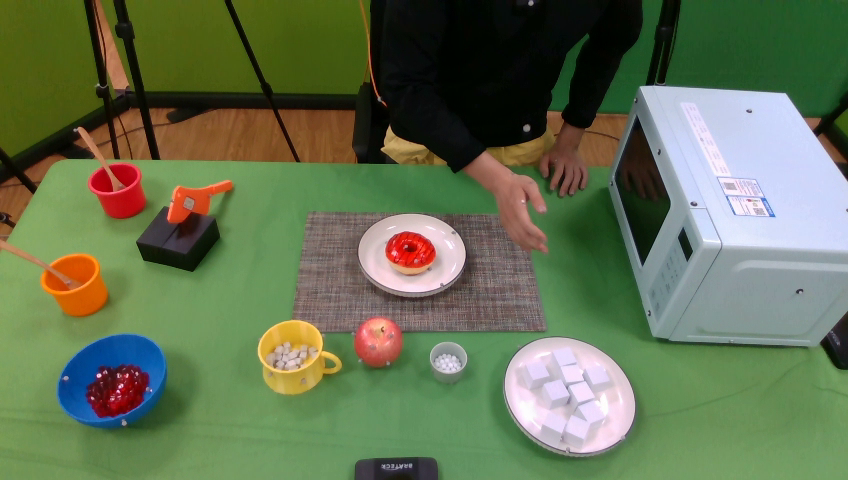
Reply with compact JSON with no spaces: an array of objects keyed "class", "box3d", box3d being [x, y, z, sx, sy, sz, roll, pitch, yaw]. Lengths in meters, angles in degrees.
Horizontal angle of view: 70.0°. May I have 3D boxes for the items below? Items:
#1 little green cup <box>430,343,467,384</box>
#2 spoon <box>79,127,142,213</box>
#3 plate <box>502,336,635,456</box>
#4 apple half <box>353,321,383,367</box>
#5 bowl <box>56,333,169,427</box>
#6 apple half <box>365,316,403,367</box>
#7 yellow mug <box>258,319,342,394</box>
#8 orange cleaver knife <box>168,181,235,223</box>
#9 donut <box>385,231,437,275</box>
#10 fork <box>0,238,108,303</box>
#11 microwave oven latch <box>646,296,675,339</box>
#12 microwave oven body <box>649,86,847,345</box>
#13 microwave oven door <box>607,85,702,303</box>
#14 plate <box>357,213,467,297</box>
[{"class":"little green cup","box3d":[0.039,0.203,0.993,0.061,0.039,0.061,2,46,-2]},{"class":"spoon","box3d":[-0.624,-0.139,1.203,0.041,0.021,0.194,-33,101,-25]},{"class":"plate","box3d":[0.225,0.248,0.963,0.208,0.039,0.206,2,46,-2]},{"class":"apple half","box3d":[-0.097,0.177,0.984,0.033,0.081,0.081,-17,49,-25]},{"class":"bowl","box3d":[-0.456,0.223,0.911,0.151,0.077,0.150,3,46,-2]},{"class":"apple half","box3d":[-0.063,0.165,1.000,0.053,0.075,0.080,-16,45,-24]},{"class":"yellow mug","box3d":[-0.195,0.188,0.972,0.131,0.064,0.099,9,47,4]},{"class":"orange cleaver knife","box3d":[-0.436,-0.078,1.196,0.012,0.077,0.211,16,15,10]},{"class":"donut","box3d":[-0.025,0.024,1.141,0.099,0.048,0.098,3,44,-3]},{"class":"fork","box3d":[-0.633,0.048,1.017,0.208,0.018,0.028,40,43,-27]},{"class":"microwave oven latch","box3d":[0.412,0.134,1.061,0.030,0.029,0.078,4,45,1]},{"class":"microwave oven body","box3d":[0.568,-0.053,1.118,0.326,0.261,0.439,2,45,-1]},{"class":"microwave oven door","box3d":[0.423,-0.094,1.140,0.039,0.245,0.353,2,46,-1]},{"class":"plate","box3d":[-0.023,0.032,1.150,0.209,0.038,0.208,2,46,-2]}]
